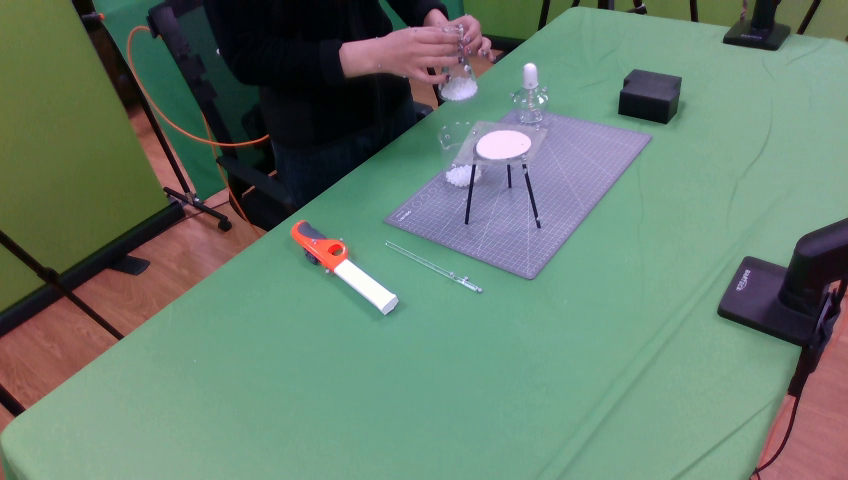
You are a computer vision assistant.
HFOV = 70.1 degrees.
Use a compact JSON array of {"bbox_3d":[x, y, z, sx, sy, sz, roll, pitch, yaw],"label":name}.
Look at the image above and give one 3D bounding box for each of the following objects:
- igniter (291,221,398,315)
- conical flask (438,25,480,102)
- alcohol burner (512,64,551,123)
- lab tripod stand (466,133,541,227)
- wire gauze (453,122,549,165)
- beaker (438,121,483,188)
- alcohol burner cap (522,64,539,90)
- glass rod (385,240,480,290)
[{"bbox_3d":[-0.136,0.037,0.962,0.057,0.025,0.274,-41,48,-18],"label":"igniter"},{"bbox_3d":[0.056,-0.310,1.057,0.075,0.122,0.075,-5,41,5],"label":"conical flask"},{"bbox_3d":[0.215,-0.298,1.220,0.078,0.120,0.077,-7,40,7],"label":"alcohol burner"},{"bbox_3d":[0.129,-0.099,0.985,0.148,0.132,0.147,-6,38,6],"label":"lab tripod stand"},{"bbox_3d":[0.121,-0.150,0.942,0.121,0.011,0.125,8,42,21],"label":"wire gauze"},{"bbox_3d":[0.066,-0.149,1.083,0.073,0.101,0.084,20,49,31],"label":"beaker"},{"bbox_3d":[0.210,-0.325,1.195,0.034,0.048,0.033,-6,45,7],"label":"alcohol burner cap"},{"bbox_3d":[0.009,0.037,0.950,0.198,0.008,0.008,26,52,35],"label":"glass rod"}]
